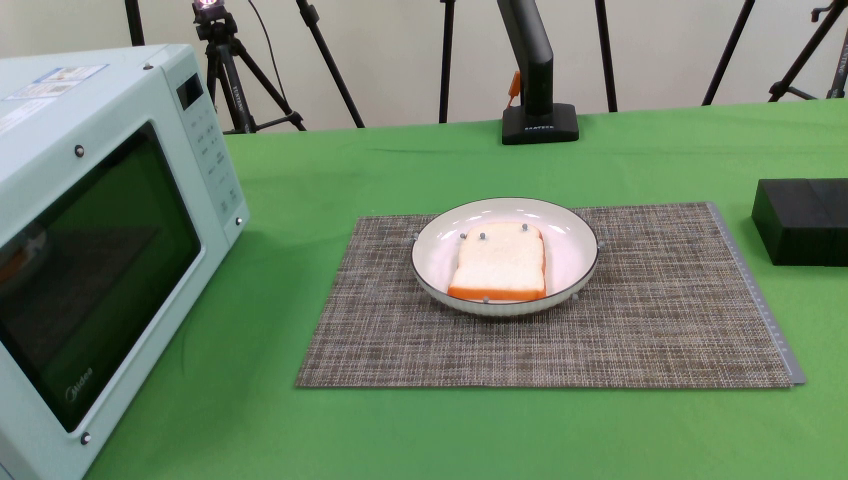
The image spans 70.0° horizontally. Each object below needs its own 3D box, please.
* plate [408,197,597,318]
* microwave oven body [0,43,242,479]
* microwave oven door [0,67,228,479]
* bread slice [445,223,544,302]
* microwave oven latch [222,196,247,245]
[{"bbox_3d":[0.086,0.020,0.685,0.209,0.038,0.207,-6,35,4],"label":"plate"},{"bbox_3d":[-0.437,0.002,0.622,0.325,0.262,0.438,-1,36,9],"label":"microwave oven body"},{"bbox_3d":[-0.299,0.018,0.562,0.039,0.246,0.353,-2,35,9],"label":"microwave oven door"},{"bbox_3d":[0.083,0.022,0.687,0.104,0.019,0.130,0,36,11],"label":"bread slice"},{"bbox_3d":[-0.258,-0.025,0.797,0.030,0.030,0.078,-1,36,10],"label":"microwave oven latch"}]
